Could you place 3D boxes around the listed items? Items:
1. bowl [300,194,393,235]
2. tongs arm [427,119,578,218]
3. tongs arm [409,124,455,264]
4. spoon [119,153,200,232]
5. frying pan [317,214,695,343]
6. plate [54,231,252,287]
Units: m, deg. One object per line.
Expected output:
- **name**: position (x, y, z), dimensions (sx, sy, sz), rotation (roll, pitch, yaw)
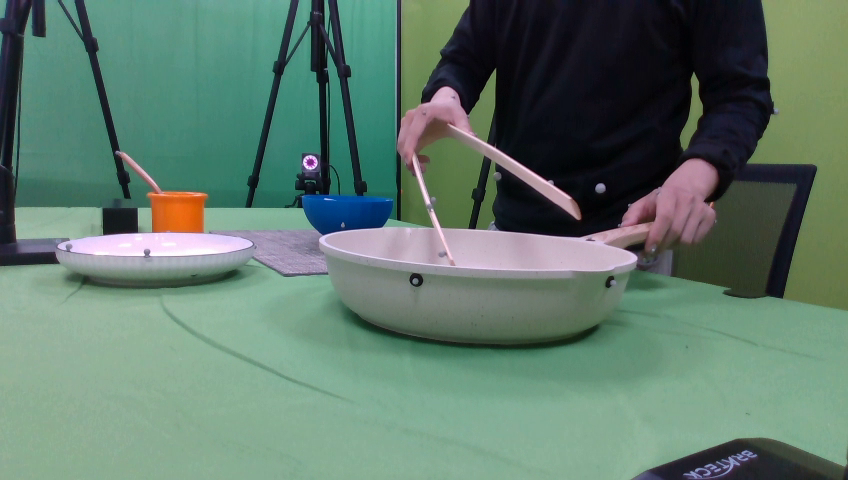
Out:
- **bowl**: position (-0.128, -0.034, 0.995), dimensions (0.151, 0.077, 0.151), rotation (2, 7, 0)
- **tongs arm**: position (0.075, -0.096, 0.705), dimensions (0.028, 0.028, 0.386), rotation (-35, 27, -2)
- **tongs arm**: position (0.017, -0.065, 0.706), dimensions (0.051, 0.026, 0.383), rotation (-28, 26, 4)
- **spoon**: position (-0.439, -0.077, 1.001), dimensions (0.021, 0.193, 0.042), rotation (-43, -6, 22)
- **frying pan**: position (0.133, 0.014, 0.630), dimensions (0.490, 0.102, 0.305), rotation (-12, 14, -32)
- **plate**: position (-0.309, 0.020, 0.705), dimensions (0.208, 0.039, 0.207), rotation (3, 7, 0)
